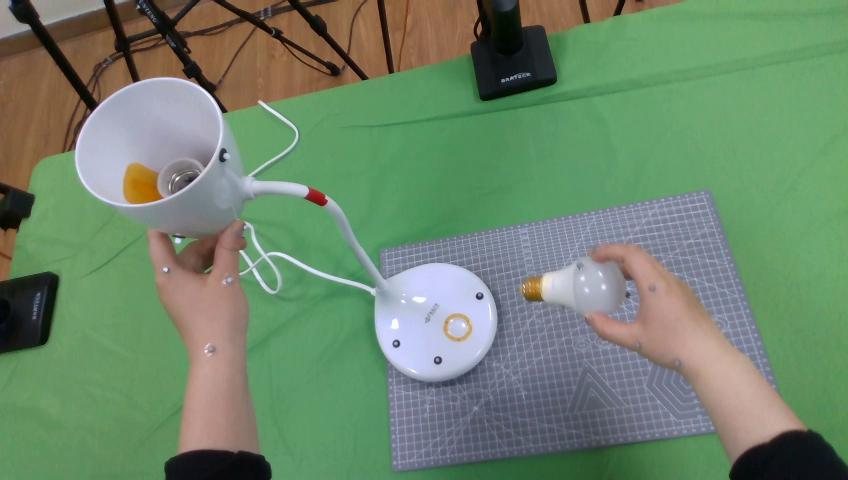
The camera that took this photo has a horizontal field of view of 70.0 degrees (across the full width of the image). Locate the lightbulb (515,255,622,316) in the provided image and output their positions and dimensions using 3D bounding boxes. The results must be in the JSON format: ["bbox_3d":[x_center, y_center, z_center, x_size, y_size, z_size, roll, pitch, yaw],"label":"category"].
[{"bbox_3d":[0.142,0.046,0.605,0.107,0.060,0.059,-5,62,33],"label":"lightbulb"}]

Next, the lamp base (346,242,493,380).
[{"bbox_3d":[-0.018,0.066,0.721,0.178,0.182,0.160,14,68,23],"label":"lamp base"}]

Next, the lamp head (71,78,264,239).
[{"bbox_3d":[-0.195,-0.052,0.493,0.112,0.124,0.111,-4,67,9],"label":"lamp head"}]
